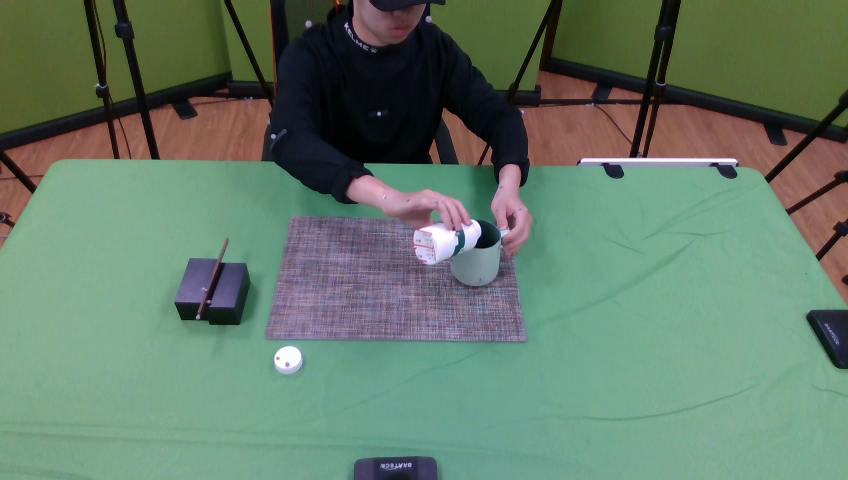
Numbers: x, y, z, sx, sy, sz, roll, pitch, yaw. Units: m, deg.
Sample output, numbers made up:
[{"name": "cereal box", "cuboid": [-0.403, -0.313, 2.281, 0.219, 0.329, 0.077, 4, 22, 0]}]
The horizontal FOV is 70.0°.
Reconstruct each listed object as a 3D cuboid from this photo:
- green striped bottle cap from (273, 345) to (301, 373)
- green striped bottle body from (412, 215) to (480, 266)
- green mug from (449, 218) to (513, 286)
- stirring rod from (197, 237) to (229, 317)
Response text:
[{"name": "green striped bottle cap", "cuboid": [-0.225, 0.195, 0.997, 0.044, 0.020, 0.044, 2, 50, -2]}, {"name": "green striped bottle body", "cuboid": [0.042, -0.003, 1.021, 0.119, 0.063, 0.063, -22, 50, -41]}, {"name": "green mug", "cuboid": [0.110, 0.018, 1.126, 0.125, 0.105, 0.092, -19, 50, -21]}, {"name": "stirring rod", "cuboid": [-0.363, 0.060, 1.047, 0.006, 0.014, 0.175, 7, 46, -3]}]
